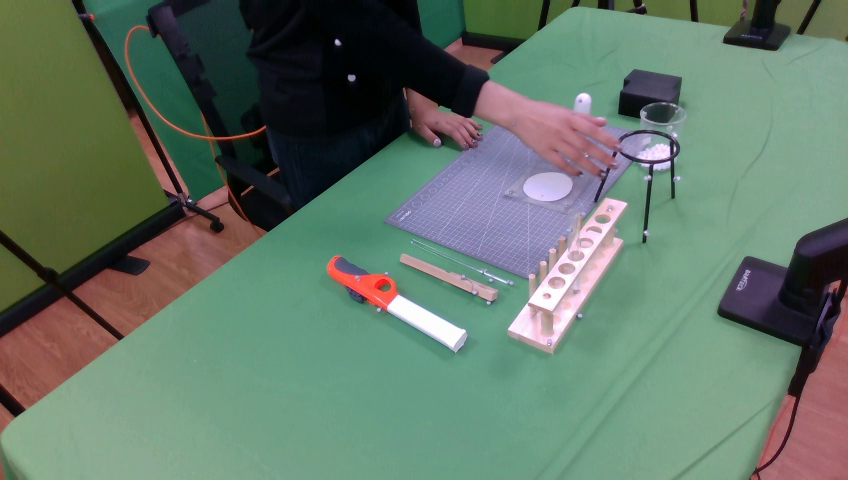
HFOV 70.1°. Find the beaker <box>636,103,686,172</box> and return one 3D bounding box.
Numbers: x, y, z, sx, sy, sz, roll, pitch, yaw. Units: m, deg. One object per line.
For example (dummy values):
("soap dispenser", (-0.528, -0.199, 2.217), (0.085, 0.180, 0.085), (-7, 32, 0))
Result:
("beaker", (0.413, -0.177, 1.055), (0.084, 0.101, 0.073), (-28, 44, -21))

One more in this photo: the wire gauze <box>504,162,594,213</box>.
("wire gauze", (0.220, -0.098, 1.065), (0.124, 0.011, 0.122), (17, 47, 32))

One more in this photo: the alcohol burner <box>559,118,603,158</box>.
("alcohol burner", (0.288, -0.212, 1.104), (0.078, 0.119, 0.077), (-4, 41, 4))

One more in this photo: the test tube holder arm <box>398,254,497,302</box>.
("test tube holder arm", (0.031, 0.055, 0.913), (0.177, 0.015, 0.013), (21, 13, 31))

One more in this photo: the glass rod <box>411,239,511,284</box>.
("glass rod", (0.053, 0.033, 0.946), (0.198, 0.008, 0.008), (23, 50, 36))

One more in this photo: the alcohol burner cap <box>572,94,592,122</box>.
("alcohol burner cap", (0.284, -0.238, 1.079), (0.034, 0.048, 0.033), (-1, 48, 1))

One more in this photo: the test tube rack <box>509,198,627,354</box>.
("test tube rack", (0.206, 0.039, 0.850), (0.066, 0.085, 0.243), (20, 48, 31))

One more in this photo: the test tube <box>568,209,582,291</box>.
("test tube", (0.200, 0.017, 0.799), (0.017, 0.151, 0.017), (-8, 45, 8))

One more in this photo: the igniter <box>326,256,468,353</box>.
("igniter", (-0.051, 0.088, 0.886), (0.274, 0.025, 0.057), (26, 61, 35))

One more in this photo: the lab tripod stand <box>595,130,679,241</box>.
("lab tripod stand", (0.342, -0.095, 0.943), (0.148, 0.132, 0.147), (-4, 39, 4))

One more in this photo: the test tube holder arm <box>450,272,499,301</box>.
("test tube holder arm", (0.071, 0.068, 0.895), (0.087, 0.015, 0.010), (21, 13, 31))
